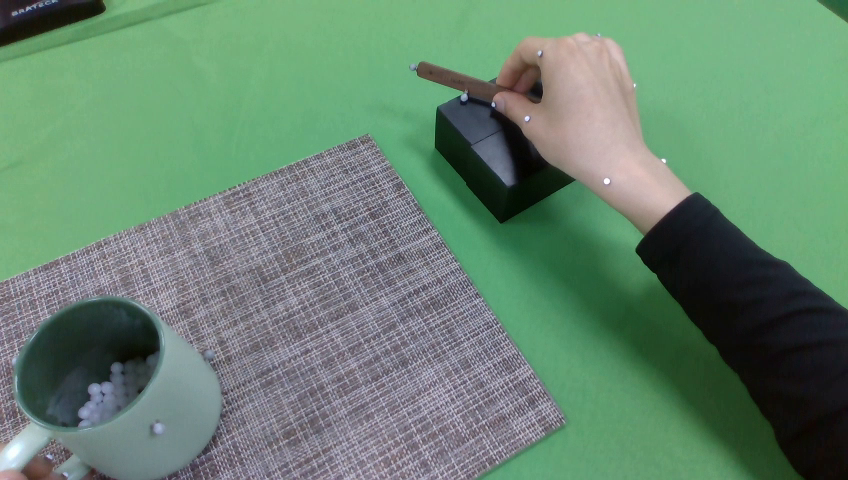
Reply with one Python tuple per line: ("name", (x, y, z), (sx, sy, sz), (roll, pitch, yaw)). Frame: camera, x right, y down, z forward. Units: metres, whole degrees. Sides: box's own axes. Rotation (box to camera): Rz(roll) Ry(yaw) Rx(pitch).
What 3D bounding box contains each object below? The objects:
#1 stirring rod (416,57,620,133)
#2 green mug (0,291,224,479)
("stirring rod", (0.075, -0.120, 0.499), (0.175, 0.014, 0.006), (20, 27, 9))
("green mug", (-0.189, 0.100, 0.363), (0.092, 0.106, 0.125), (33, 63, 17))
